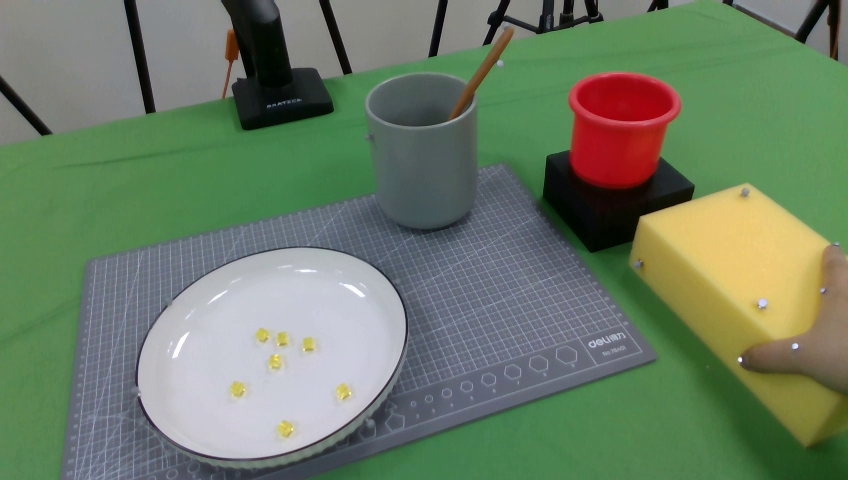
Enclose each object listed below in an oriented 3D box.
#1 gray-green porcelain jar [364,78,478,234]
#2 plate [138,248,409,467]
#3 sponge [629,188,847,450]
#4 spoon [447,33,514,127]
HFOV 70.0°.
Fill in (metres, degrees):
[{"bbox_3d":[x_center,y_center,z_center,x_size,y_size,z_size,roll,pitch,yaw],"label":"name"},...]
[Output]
[{"bbox_3d":[0.000,-0.078,0.597,0.106,0.128,0.105,-2,42,2],"label":"gray-green porcelain jar"},{"bbox_3d":[-0.114,0.089,0.485,0.207,0.039,0.205,-2,42,2],"label":"plate"},{"bbox_3d":[0.281,0.049,0.487,0.118,0.061,0.204,-17,43,-16],"label":"sponge"},{"bbox_3d":[0.030,-0.107,0.572,0.022,0.194,0.041,18,33,-17],"label":"spoon"}]
